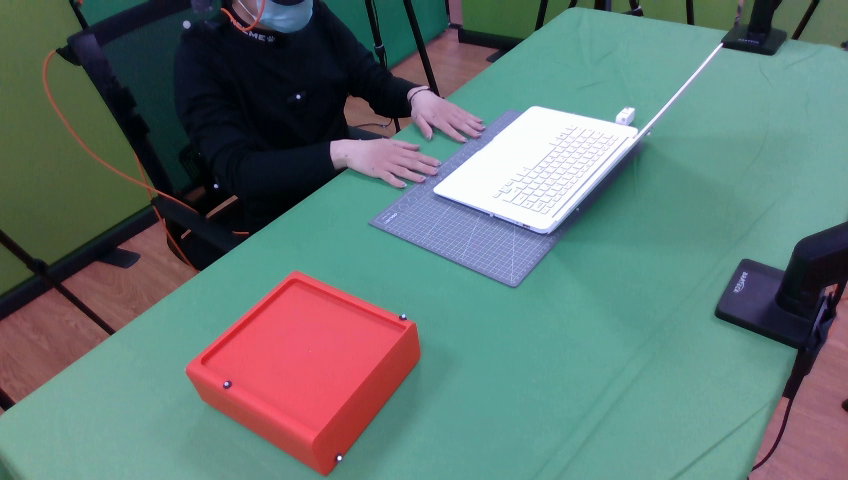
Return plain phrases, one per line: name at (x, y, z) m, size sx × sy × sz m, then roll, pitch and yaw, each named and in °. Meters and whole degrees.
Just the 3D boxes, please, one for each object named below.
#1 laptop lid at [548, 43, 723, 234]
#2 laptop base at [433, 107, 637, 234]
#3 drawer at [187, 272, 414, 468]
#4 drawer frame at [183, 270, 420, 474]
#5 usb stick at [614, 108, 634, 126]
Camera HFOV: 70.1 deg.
laptop lid at (0.335, -0.160, 0.955) m, size 0.013 × 0.241 × 0.358 m, roll 42°, pitch 54°, yaw 8°
laptop base at (0.210, -0.142, 1.111) m, size 0.233 × 0.023 × 0.355 m, roll 21°, pitch 48°, yaw 33°
drawer at (-0.150, 0.154, 0.768) m, size 0.210 × 0.073 × 0.195 m, roll 20°, pitch 46°, yaw 28°
drawer frame at (-0.149, 0.153, 0.767) m, size 0.212 × 0.083 × 0.202 m, roll 20°, pitch 46°, yaw 27°
usb stick at (0.386, -0.233, 1.174) m, size 0.021 × 0.027 × 0.059 m, roll 21°, pitch 47°, yaw 30°
